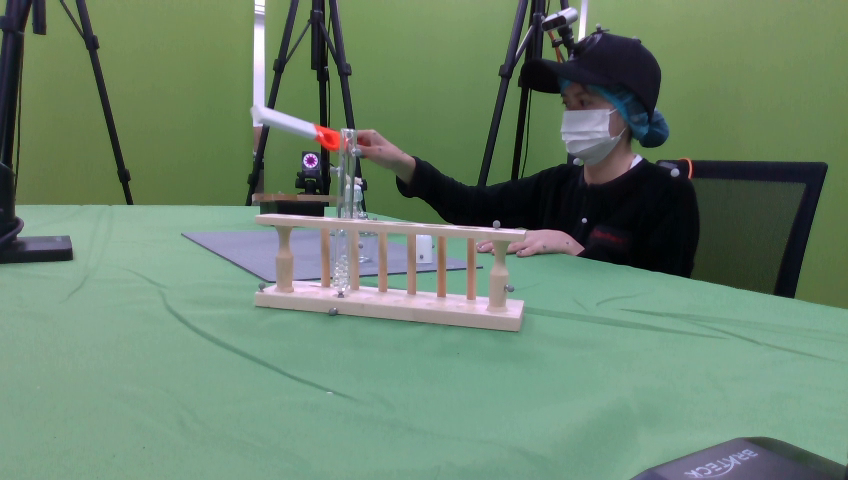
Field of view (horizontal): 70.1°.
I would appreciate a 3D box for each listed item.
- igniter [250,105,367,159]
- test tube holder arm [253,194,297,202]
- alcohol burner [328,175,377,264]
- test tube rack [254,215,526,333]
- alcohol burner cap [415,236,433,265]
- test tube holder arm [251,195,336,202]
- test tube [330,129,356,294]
[{"bbox_3d":[-0.199,-0.193,1.107,0.025,0.057,0.278,-38,-25,25],"label":"igniter"},{"bbox_3d":[-0.293,-0.083,1.193,0.088,0.015,0.010,-2,-1,-37],"label":"test tube holder arm"},{"bbox_3d":[-0.098,-0.028,0.819,0.078,0.119,0.078,1,8,0],"label":"alcohol burner"},{"bbox_3d":[-0.030,0.025,0.558,0.242,0.085,0.067,4,7,12],"label":"test tube rack"},{"bbox_3d":[-0.004,0.011,0.835,0.034,0.048,0.034,2,7,0],"label":"alcohol burner cap"},{"bbox_3d":[-0.260,-0.084,1.225,0.179,0.015,0.013,-2,-1,-37],"label":"test tube holder arm"},{"bbox_3d":[-0.074,-0.025,0.548,0.017,0.150,0.017,4,6,0],"label":"test tube"}]
